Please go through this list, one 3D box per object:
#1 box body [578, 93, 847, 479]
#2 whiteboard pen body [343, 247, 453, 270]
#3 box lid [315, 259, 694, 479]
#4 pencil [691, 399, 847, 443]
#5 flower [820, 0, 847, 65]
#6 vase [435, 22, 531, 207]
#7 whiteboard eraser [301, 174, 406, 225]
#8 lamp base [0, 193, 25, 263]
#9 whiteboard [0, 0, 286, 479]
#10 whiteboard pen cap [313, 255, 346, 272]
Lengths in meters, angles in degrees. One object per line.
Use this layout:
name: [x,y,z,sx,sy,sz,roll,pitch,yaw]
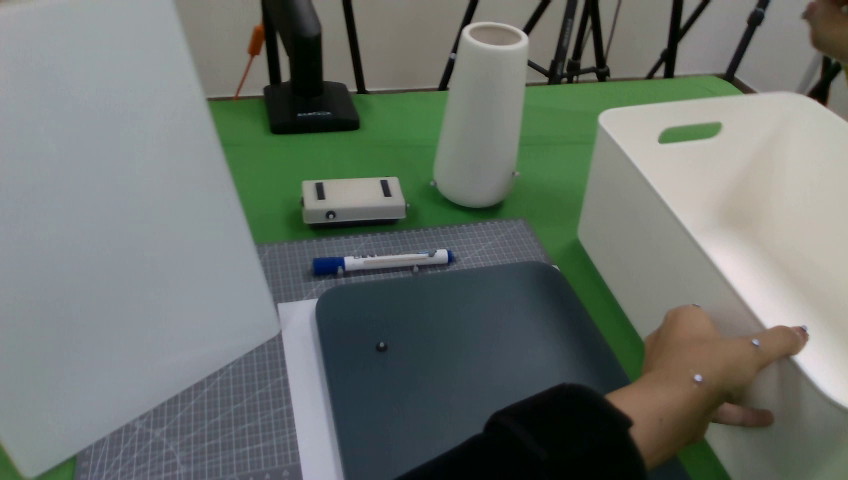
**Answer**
box body: [0.328,0.027,0.556,0.255,0.162,0.360,-8,42,-11]
whiteboard pen body: [-0.038,0.020,0.626,0.141,0.017,0.017,-4,42,-13]
box lid: [0.063,0.155,0.492,0.264,0.015,0.367,-7,43,-15]
pencil: [0.326,0.161,0.512,0.193,0.012,0.012,11,41,9]
flower: [0.216,-0.115,0.317,0.365,0.038,0.043,43,22,-28]
vase: [0.069,-0.136,0.686,0.098,0.201,0.097,5,41,-4]
whiteboard eraser: [-0.079,-0.044,0.679,0.113,0.042,0.055,-5,41,-13]
lamp base: [-0.479,-0.063,0.532,0.178,0.182,0.160,20,42,18]
whiteboard: [-0.269,-0.020,0.462,0.217,0.308,0.142,-30,34,-34]
whiteboard pen cap: [-0.096,0.024,0.612,0.033,0.018,0.018,-2,41,-15]
